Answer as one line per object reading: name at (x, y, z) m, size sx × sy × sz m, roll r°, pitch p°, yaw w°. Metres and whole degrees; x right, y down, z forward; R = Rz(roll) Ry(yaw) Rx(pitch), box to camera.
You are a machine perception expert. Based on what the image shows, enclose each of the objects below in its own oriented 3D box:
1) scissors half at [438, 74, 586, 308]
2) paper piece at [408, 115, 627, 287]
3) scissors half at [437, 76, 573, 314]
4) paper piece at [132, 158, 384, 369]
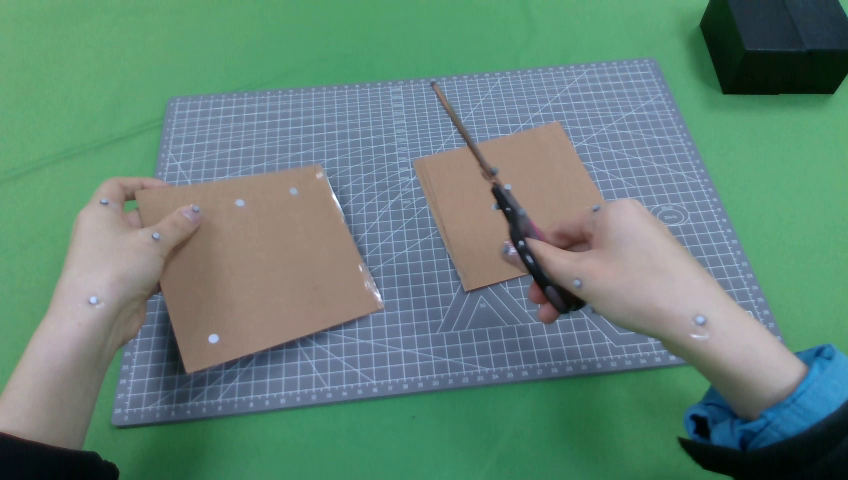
scissors half at (0.053, -0.034, 0.387) m, size 0.013 × 0.040 × 0.174 m, roll -34°, pitch 83°, yaw 24°
paper piece at (0.071, -0.036, 0.479) m, size 0.136 × 0.004 × 0.134 m, roll -15°, pitch 59°, yaw -8°
scissors half at (0.044, -0.035, 0.369) m, size 0.013 × 0.040 × 0.173 m, roll -33°, pitch 67°, yaw 19°
paper piece at (-0.117, 0.007, 0.428) m, size 0.138 × 0.009 × 0.135 m, roll -15°, pitch 66°, yaw -24°
